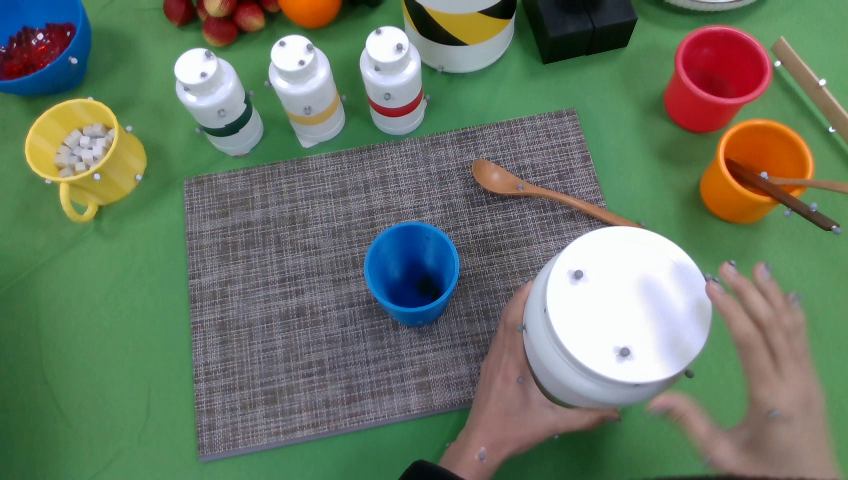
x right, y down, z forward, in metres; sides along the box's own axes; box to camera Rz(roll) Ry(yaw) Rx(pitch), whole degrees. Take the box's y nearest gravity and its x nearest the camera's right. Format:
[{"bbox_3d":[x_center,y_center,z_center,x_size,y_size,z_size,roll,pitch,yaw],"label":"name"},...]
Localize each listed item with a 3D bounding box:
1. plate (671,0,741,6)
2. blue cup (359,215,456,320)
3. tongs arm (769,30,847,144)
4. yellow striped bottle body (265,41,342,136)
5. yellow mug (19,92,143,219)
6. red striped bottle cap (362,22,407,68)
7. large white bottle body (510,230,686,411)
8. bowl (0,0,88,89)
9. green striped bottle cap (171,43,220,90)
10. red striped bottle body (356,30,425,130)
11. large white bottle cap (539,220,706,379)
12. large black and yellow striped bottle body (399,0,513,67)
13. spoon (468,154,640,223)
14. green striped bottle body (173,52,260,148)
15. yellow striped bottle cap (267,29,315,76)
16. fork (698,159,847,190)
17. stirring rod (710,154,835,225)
[{"bbox_3d":[0.337,-0.369,0.745,0.209,0.038,0.207,-1,71,2],"label":"plate"},{"bbox_3d":[-0.014,0.035,0.576,0.092,0.101,0.092,0,69,1],"label":"blue cup"},{"bbox_3d":[0.497,-0.077,0.636,0.051,0.027,0.382,-23,72,-8],"label":"tongs arm"},{"bbox_3d":[-0.129,-0.168,0.647,0.063,0.121,0.062,-1,70,3],"label":"yellow striped bottle body"},{"bbox_3d":[-0.371,-0.086,0.656,0.100,0.064,0.130,-1,71,1],"label":"yellow mug"},{"bbox_3d":[-0.039,-0.193,0.597,0.044,0.018,0.044,1,68,-1],"label":"red striped bottle cap"},{"bbox_3d":[0.145,0.071,0.513,0.130,0.186,0.129,-1,69,3],"label":"large white bottle body"},{"bbox_3d":[-0.455,-0.230,0.704,0.151,0.077,0.150,0,70,1],"label":"bowl"},{"bbox_3d":[-0.225,-0.171,0.597,0.044,0.020,0.044,0,69,2],"label":"green striped bottle cap"},{"bbox_3d":[-0.035,-0.174,0.647,0.063,0.120,0.062,-2,69,6],"label":"red striped bottle body"},{"bbox_3d":[0.140,0.040,0.431,0.115,0.018,0.114,-1,70,2],"label":"large white bottle cap"},{"bbox_3d":[0.034,-0.292,0.652,0.131,0.185,0.130,-1,70,2],"label":"large black and yellow striped bottle body"},{"bbox_3d":[0.137,-0.049,0.643,0.193,0.022,0.041,20,47,8],"label":"spoon"},{"bbox_3d":[-0.222,-0.153,0.646,0.063,0.120,0.063,-1,70,2],"label":"green striped bottle body"},{"bbox_3d":[-0.131,-0.185,0.599,0.044,0.019,0.044,0,72,1],"label":"yellow striped bottle cap"},{"bbox_3d":[0.358,-0.056,0.574,0.028,0.019,0.205,-50,32,-13],"label":"fork"},{"bbox_3d":[0.327,-0.053,0.581,0.014,0.006,0.174,-9,27,-4],"label":"stirring rod"}]
